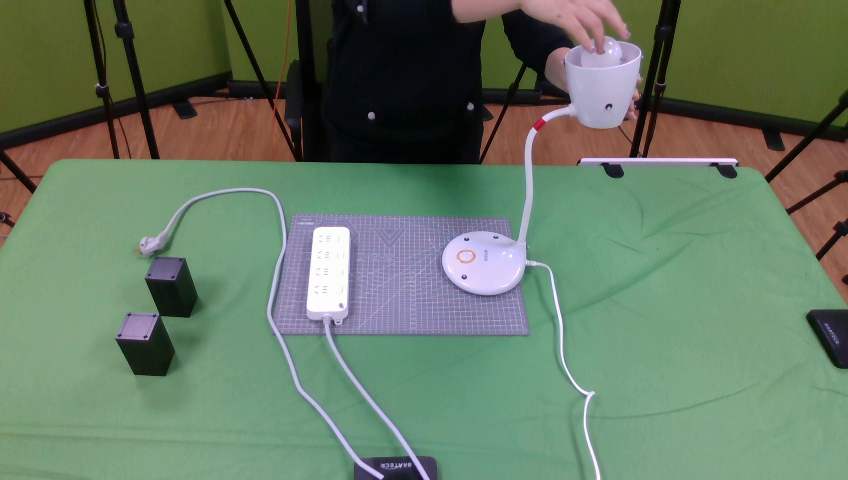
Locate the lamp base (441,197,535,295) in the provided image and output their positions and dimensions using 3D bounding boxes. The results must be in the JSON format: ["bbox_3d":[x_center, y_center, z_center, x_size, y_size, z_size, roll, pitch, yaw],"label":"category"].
[{"bbox_3d":[0.130,-0.012,1.105,0.179,0.181,0.159,-1,46,-9],"label":"lamp base"}]

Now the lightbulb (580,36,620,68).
[{"bbox_3d":[0.269,-0.255,0.925,0.059,0.108,0.059,-8,28,4],"label":"lightbulb"}]

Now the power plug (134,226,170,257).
[{"bbox_3d":[-0.515,0.006,1.153,0.052,0.035,0.072,-6,24,6],"label":"power plug"}]

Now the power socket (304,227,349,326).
[{"bbox_3d":[-0.177,0.059,1.115,0.072,0.033,0.225,-1,46,-4],"label":"power socket"}]

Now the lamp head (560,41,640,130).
[{"bbox_3d":[0.269,-0.232,0.936,0.112,0.123,0.112,-3,36,2],"label":"lamp head"}]
